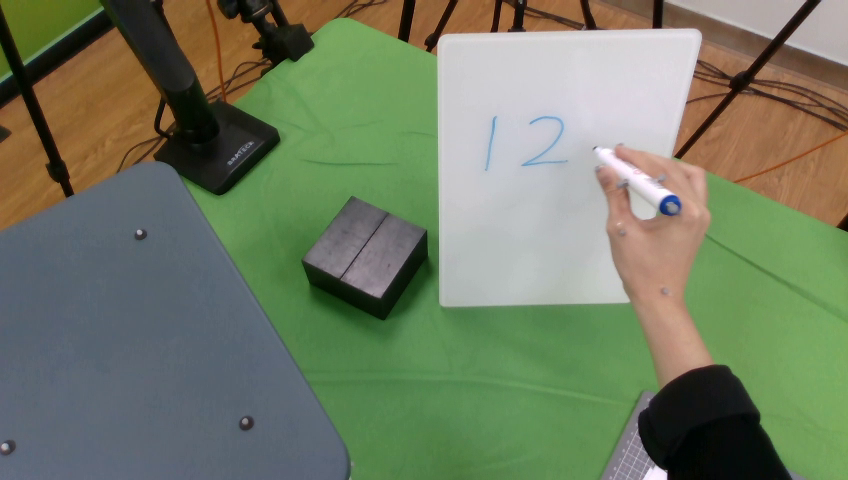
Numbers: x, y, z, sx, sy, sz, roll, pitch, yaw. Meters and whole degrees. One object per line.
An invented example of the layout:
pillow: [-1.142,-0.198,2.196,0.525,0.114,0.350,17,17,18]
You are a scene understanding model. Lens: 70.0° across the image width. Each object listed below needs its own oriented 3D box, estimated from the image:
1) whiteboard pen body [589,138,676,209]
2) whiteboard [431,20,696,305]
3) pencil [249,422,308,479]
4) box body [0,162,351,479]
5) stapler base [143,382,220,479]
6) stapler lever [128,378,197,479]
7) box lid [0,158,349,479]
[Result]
whiteboard pen body: [0.158,-0.058,0.479,0.017,0.017,0.139,-9,28,-5]
whiteboard: [0.117,-0.093,0.633,0.217,0.308,0.142,-1,38,0]
pencil: [-0.175,0.240,0.552,0.012,0.012,0.193,32,53,19]
box body: [-0.253,0.142,0.533,0.254,0.162,0.360,-32,63,-18]
stapler base: [-0.236,0.194,0.571,0.041,0.025,0.129,1,60,23]
stapler lever: [-0.243,0.183,0.551,0.026,0.040,0.117,1,58,23]
box lid: [-0.255,0.101,0.471,0.263,0.015,0.368,-31,64,-18]
